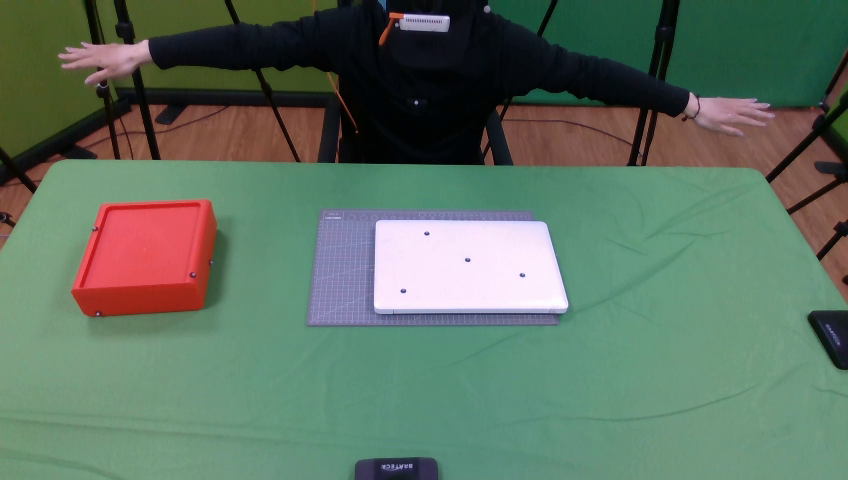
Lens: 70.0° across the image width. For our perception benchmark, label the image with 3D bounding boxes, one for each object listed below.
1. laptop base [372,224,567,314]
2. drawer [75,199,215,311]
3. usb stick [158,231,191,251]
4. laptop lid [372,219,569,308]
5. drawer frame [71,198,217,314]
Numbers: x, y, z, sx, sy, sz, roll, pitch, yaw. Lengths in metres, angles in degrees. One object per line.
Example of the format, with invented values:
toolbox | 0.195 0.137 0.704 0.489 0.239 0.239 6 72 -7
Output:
laptop base | 0.080 0.049 1.159 0.355 0.023 0.234 0 43 -4
drawer | -0.494 0.023 1.097 0.195 0.073 0.210 -2 47 -8
usb stick | -0.474 0.001 1.144 0.059 0.027 0.021 10 42 8
laptop lid | 0.081 0.039 1.152 0.357 0.013 0.240 2 44 -3
drawer frame | -0.493 0.024 1.095 0.202 0.083 0.212 -3 47 -8
